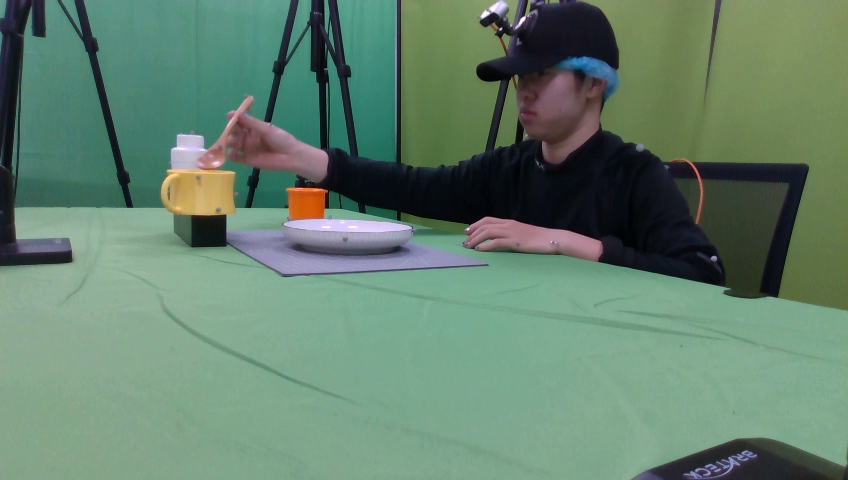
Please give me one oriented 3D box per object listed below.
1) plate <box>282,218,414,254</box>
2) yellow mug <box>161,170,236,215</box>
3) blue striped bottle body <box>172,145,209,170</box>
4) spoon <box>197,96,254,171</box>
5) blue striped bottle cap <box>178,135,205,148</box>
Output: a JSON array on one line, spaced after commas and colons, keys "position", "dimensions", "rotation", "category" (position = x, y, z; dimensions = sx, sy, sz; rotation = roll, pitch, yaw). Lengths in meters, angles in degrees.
[{"position": [-0.121, -0.007, 0.971], "dimensions": [0.208, 0.039, 0.207], "rotation": [2, 7, 0], "category": "plate"}, {"position": [-0.354, -0.074, 0.935], "dimensions": [0.099, 0.064, 0.131], "rotation": [5, 9, 21], "category": "yellow mug"}, {"position": [-0.407, -0.120, 1.059], "dimensions": [0.063, 0.120, 0.063], "rotation": [3, 8, 0], "category": "blue striped bottle body"}, {"position": [-0.317, -0.178, 0.992], "dimensions": [0.041, 0.193, 0.021], "rotation": [10, -36, 8], "category": "spoon"}, {"position": [-0.405, -0.171, 1.053], "dimensions": [0.044, 0.020, 0.044], "rotation": [3, 10, 0], "category": "blue striped bottle cap"}]
